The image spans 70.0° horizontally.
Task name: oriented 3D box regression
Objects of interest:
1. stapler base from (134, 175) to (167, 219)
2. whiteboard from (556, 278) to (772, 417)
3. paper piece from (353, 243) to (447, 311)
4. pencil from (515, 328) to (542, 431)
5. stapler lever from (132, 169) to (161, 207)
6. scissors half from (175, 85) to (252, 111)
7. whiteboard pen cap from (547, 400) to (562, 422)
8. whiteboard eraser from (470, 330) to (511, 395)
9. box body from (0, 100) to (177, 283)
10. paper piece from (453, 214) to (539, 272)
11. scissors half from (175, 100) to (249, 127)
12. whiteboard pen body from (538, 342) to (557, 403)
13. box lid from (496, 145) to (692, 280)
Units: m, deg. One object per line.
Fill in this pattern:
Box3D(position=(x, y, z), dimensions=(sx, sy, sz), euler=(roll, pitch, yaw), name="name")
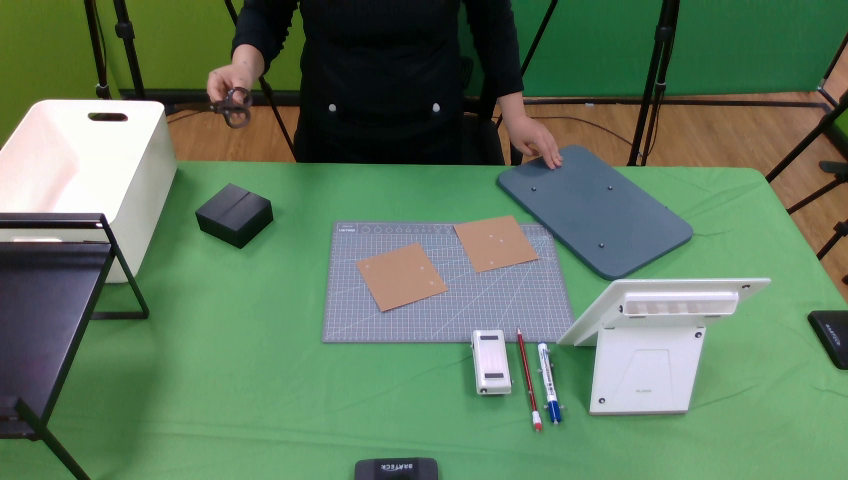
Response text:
Box3D(position=(-0.559, -0.093, 1.234), dimensions=(0.041, 0.024, 0.129), euler=(0, 43, -8), name="stapler base")
Box3D(position=(0.347, 0.174, 0.903), dimensions=(0.217, 0.306, 0.143), euler=(1, 65, -4), name="whiteboard")
Box3D(position=(-0.045, 0.066, 1.137), dimensions=(0.136, 0.009, 0.137), euler=(-14, 47, -22), name="paper piece")
Box3D(position=(0.169, 0.224, 1.002), dimensions=(0.012, 0.012, 0.192), euler=(-2, 46, -6), name="pencil")
Box3D(position=(-0.558, -0.113, 1.218), dimensions=(0.027, 0.040, 0.117), euler=(0, 42, -8), name="stapler lever")
Box3D(position=(-0.355, -0.238, 1.032), dimensions=(0.013, 0.040, 0.175), euler=(25, 28, 17), name="scissors half")
Box3D(position=(0.205, 0.269, 0.956), dimensions=(0.018, 0.018, 0.033), euler=(0, 47, -5), name="whiteboard pen cap")
Box3D(position=(0.110, 0.202, 0.998), dimensions=(0.055, 0.042, 0.112), euler=(1, 46, -5), name="whiteboard eraser")
Box3D(position=(-0.639, -0.095, 1.140), dimensions=(0.254, 0.161, 0.361), euler=(0, 46, -4), name="box body")
Box3D(position=(0.142, 0.003, 1.213), dimensions=(0.135, 0.004, 0.135), euler=(-11, 47, -14), name="paper piece")
Box3D(position=(-0.361, -0.220, 1.039), dimensions=(0.013, 0.040, 0.175), euler=(19, 10, 20), name="scissors half")
Box3D(position=(0.205, 0.228, 0.997), dimensions=(0.017, 0.017, 0.140), euler=(1, 47, -3), name="whiteboard pen body")
Box3D(position=(0.360, -0.074, 1.305), dimensions=(0.263, 0.015, 0.369), euler=(-24, 51, -25), name="box lid")
